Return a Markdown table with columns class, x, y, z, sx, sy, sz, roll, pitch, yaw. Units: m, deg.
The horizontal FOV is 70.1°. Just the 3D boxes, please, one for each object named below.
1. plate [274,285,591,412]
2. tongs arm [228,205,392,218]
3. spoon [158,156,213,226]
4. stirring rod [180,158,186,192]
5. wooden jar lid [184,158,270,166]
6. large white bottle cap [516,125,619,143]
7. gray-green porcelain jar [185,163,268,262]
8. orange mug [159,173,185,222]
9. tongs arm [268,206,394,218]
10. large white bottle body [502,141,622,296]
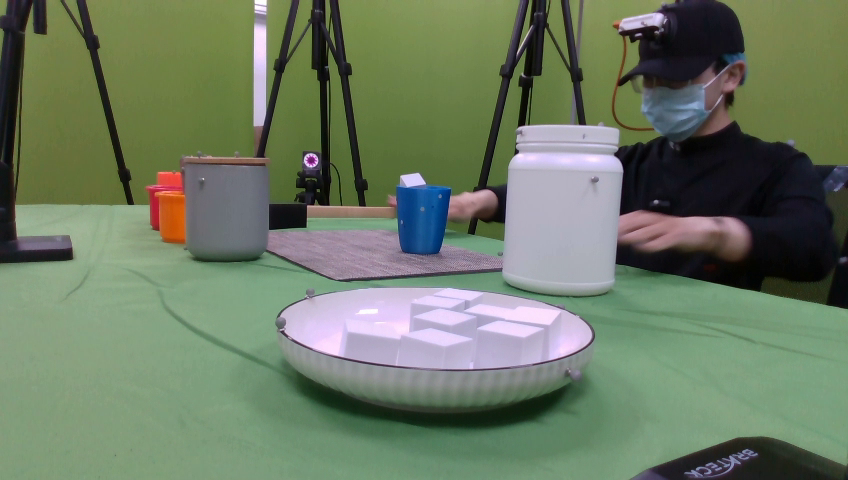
| class | x | y | z | sx | sy | sz | roll | pitch | yaw |
| --- | --- | --- | --- | --- | --- | --- | --- | --- | --- |
| plate | 0.005 | 0.069 | 0.408 | 0.208 | 0.039 | 0.207 | 2 | 7 | 0 |
| tongs arm | -0.268 | -0.068 | 1.454 | 0.389 | 0.027 | 0.028 | 0 | -2 | -18 |
| spoon | -0.434 | -0.094 | 1.121 | 0.041 | 0.022 | 0.193 | 5 | 51 | 13 |
| stirring rod | -0.380 | -0.071 | 0.980 | 0.014 | 0.006 | 0.175 | -5 | 53 | -25 |
| wooden jar lid | -0.260 | -0.099 | 0.801 | 0.108 | 0.020 | 0.108 | 0 | 9 | 0 |
| large white bottle cap | 0.164 | -0.120 | 0.695 | 0.115 | 0.018 | 0.115 | 2 | 8 | 0 |
| gray-green porcelain jar | -0.263 | -0.038 | 0.809 | 0.106 | 0.126 | 0.106 | 3 | 8 | 0 |
| orange mug | -0.477 | -0.089 | 1.241 | 0.127 | 0.101 | 0.083 | -7 | 11 | -33 |
| tongs arm | -0.231 | -0.064 | 1.380 | 0.387 | 0.026 | 0.050 | -1 | 2 | -32 |
| large white bottle body | 0.161 | -0.037 | 0.706 | 0.131 | 0.184 | 0.130 | 2 | 7 | 0 |
